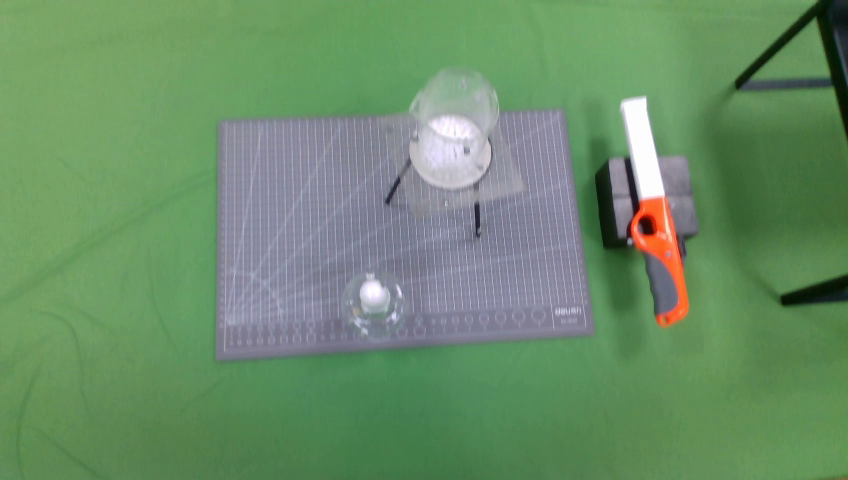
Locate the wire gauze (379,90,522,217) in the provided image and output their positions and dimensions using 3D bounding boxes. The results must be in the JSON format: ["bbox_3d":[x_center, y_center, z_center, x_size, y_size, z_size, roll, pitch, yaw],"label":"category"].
[{"bbox_3d":[0.028,-0.092,0.641,0.125,0.011,0.121,-16,78,-10],"label":"wire gauze"}]

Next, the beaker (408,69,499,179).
[{"bbox_3d":[0.024,-0.108,0.595,0.084,0.100,0.073,-5,74,-5],"label":"beaker"}]

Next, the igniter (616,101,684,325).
[{"bbox_3d":[0.269,-0.038,0.724,0.057,0.025,0.275,-7,75,5],"label":"igniter"}]

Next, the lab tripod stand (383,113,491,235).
[{"bbox_3d":[0.023,-0.082,0.706,0.148,0.132,0.147,1,74,-3],"label":"lab tripod stand"}]

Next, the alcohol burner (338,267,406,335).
[{"bbox_3d":[-0.058,0.065,0.672,0.078,0.119,0.077,1,76,-4],"label":"alcohol burner"}]

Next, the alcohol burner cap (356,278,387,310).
[{"bbox_3d":[-0.057,0.055,0.638,0.034,0.048,0.033,0,77,-2],"label":"alcohol burner cap"}]
